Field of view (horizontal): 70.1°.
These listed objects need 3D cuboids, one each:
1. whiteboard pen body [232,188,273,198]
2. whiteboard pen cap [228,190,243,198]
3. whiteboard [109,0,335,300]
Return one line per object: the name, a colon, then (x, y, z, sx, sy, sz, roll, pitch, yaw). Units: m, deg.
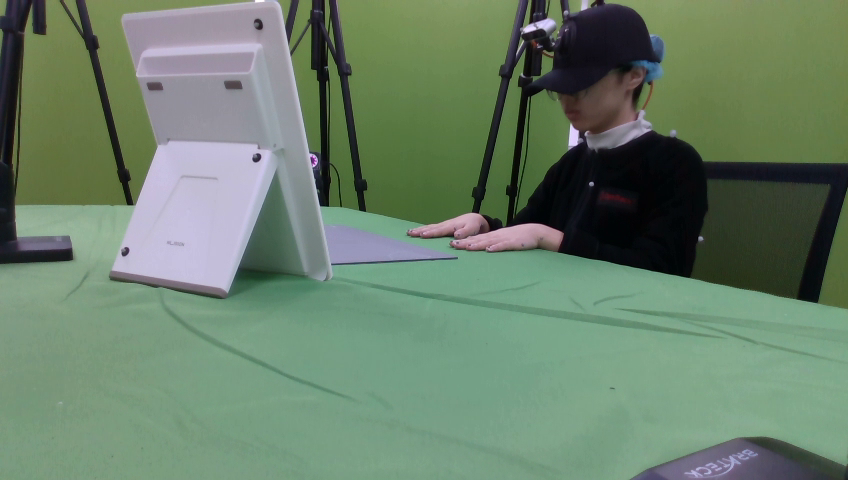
whiteboard pen body: (-0.370, -0.101, 1.303, 0.017, 0.017, 0.141, 4, 8, 18)
whiteboard pen cap: (-0.388, -0.096, 1.248, 0.018, 0.018, 0.033, 4, 8, 18)
whiteboard: (-0.247, -0.072, 0.624, 0.216, 0.305, 0.144, 6, 28, 26)
